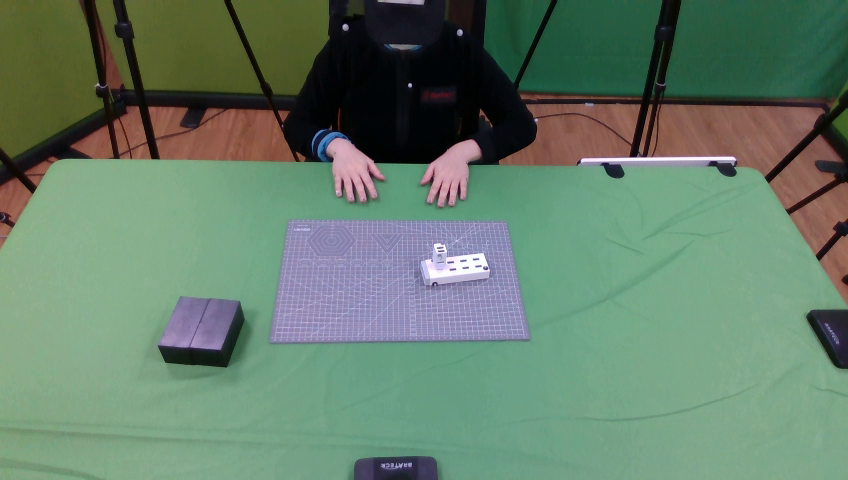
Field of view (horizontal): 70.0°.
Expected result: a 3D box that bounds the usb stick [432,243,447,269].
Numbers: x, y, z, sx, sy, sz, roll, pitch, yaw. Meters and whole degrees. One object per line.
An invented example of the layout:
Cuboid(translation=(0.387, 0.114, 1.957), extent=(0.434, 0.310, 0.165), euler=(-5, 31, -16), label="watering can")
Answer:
Cuboid(translation=(0.028, 0.034, 1.116), extent=(0.021, 0.059, 0.027), euler=(-8, 50, -11), label="usb stick")

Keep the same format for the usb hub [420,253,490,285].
Cuboid(translation=(0.059, 0.055, 1.142), extent=(0.125, 0.025, 0.049), euler=(-7, 47, -10), label="usb hub")
